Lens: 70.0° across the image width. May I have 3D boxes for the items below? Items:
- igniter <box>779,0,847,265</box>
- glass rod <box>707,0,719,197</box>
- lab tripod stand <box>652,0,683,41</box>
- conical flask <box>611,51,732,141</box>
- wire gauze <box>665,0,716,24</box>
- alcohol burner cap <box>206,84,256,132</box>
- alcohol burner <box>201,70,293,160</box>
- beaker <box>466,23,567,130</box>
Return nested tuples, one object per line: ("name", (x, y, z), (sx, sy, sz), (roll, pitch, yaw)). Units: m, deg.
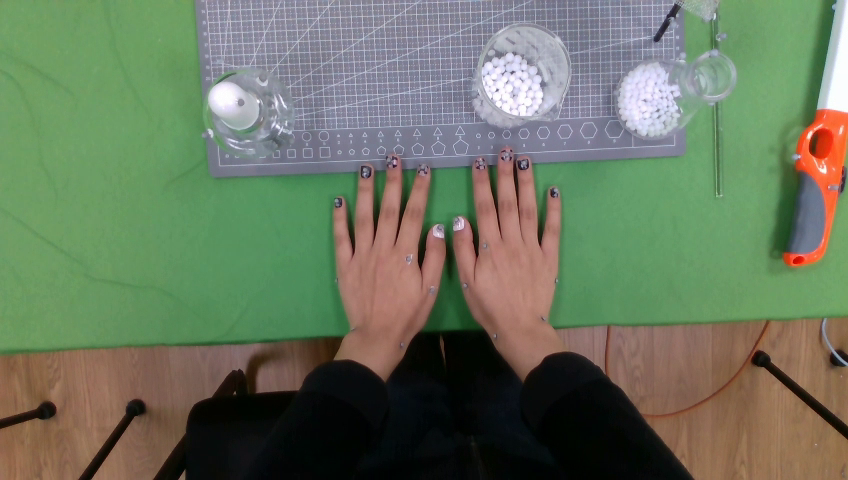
("igniter", (0.380, -0.111, 0.573), (0.057, 0.025, 0.276), (7, 95, -13))
("glass rod", (0.275, -0.141, 0.577), (0.008, 0.008, 0.200), (-4, 95, -2))
("lab tripod stand", (0.181, -0.244, 0.498), (0.148, 0.131, 0.148), (0, 96, 0))
("conical flask", (0.213, -0.127, 0.516), (0.075, 0.121, 0.075), (0, 95, -2))
("wire gauze", (0.180, -0.241, 0.432), (0.125, 0.011, 0.121), (29, 95, -4))
("alcohol burner cap", (-0.152, -0.105, 0.474), (0.034, 0.048, 0.034), (0, 89, -4))
("alcohol burner", (-0.153, -0.107, 0.510), (0.078, 0.119, 0.078), (0, 96, 0))
("beaker", (0.076, -0.133, 0.522), (0.074, 0.100, 0.084), (-38, 95, 2))
